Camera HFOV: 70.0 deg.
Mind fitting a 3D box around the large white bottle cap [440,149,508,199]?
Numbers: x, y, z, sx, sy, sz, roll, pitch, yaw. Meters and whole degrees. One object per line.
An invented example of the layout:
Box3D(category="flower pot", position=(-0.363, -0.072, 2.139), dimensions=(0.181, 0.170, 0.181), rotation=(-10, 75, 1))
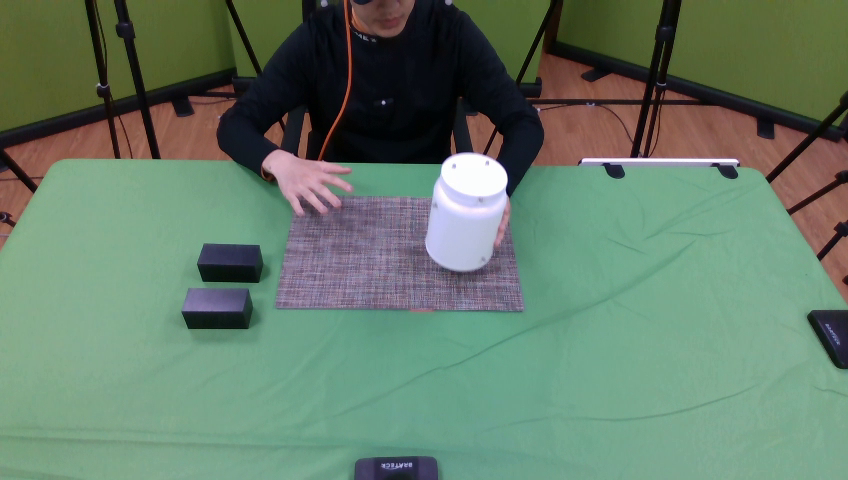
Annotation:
Box3D(category="large white bottle cap", position=(0.085, -0.113, 1.024), dimensions=(0.115, 0.018, 0.114), rotation=(5, 45, -5))

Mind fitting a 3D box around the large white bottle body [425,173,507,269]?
Box3D(category="large white bottle body", position=(0.074, -0.054, 1.084), dimensions=(0.131, 0.185, 0.130), rotation=(5, 45, -5))
